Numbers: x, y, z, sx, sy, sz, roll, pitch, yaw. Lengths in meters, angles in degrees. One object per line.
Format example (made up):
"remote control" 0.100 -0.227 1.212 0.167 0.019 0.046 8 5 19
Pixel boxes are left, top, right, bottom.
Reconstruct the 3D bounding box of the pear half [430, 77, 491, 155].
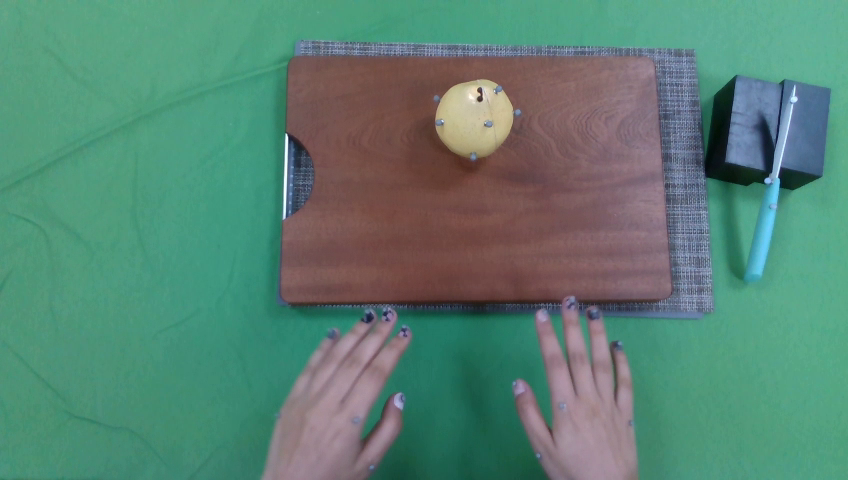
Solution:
"pear half" 0.035 -0.123 0.591 0.056 0.110 0.076 -21 77 -4

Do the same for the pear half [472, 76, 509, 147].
"pear half" 0.068 -0.133 0.603 0.031 0.088 0.070 -22 76 -4

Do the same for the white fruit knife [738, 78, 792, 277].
"white fruit knife" 0.351 -0.060 0.621 0.016 0.027 0.208 8 101 8
